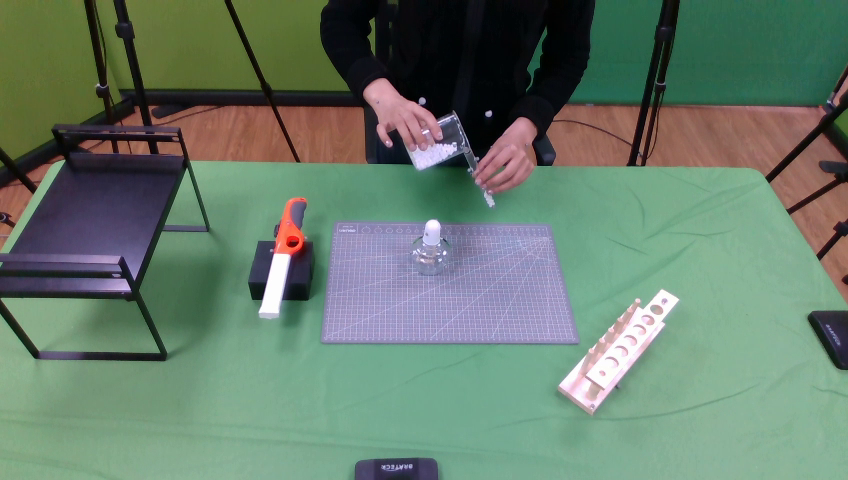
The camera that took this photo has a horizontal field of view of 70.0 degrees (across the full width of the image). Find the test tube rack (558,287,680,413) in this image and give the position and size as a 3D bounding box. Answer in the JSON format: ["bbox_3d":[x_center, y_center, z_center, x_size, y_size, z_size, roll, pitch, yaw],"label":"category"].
[{"bbox_3d":[0.327,0.170,1.009,0.066,0.085,0.242,36,54,26],"label":"test tube rack"}]

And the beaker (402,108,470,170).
[{"bbox_3d":[0.020,-0.166,1.027,0.100,0.084,0.073,-24,52,5],"label":"beaker"}]

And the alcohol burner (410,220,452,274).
[{"bbox_3d":[0.013,0.008,1.120,0.078,0.120,0.077,1,48,-1],"label":"alcohol burner"}]

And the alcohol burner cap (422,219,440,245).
[{"bbox_3d":[0.014,-0.018,1.094,0.034,0.048,0.033,5,44,-5],"label":"alcohol burner cap"}]

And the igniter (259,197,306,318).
[{"bbox_3d":[-0.252,0.021,1.088,0.057,0.025,0.275,4,48,-2],"label":"igniter"}]

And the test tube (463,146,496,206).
[{"bbox_3d":[0.103,-0.113,1.105,0.017,0.151,0.017,-15,47,17],"label":"test tube"}]
